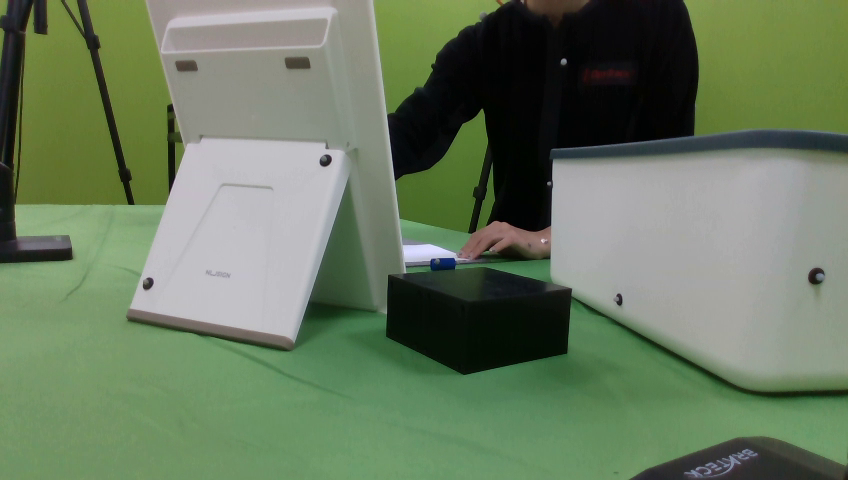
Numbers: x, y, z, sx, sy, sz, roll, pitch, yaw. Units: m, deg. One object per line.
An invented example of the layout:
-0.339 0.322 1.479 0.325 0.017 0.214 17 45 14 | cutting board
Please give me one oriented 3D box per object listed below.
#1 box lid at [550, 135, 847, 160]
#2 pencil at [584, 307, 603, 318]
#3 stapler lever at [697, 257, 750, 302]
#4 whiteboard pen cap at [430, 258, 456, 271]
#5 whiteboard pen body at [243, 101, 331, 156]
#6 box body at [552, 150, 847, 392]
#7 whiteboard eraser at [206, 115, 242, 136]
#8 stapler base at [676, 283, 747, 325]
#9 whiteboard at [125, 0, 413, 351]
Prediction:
0.294 -0.071 0.538 0.264 0.015 0.370 2 6 -10 | box lid
0.250 0.054 0.656 0.195 0.012 0.012 -13 14 -26 | pencil
0.290 0.035 0.580 0.026 0.040 0.119 29 19 34 | stapler lever
0.024 0.031 0.791 0.033 0.018 0.018 1 8 -12 | whiteboard pen cap
-0.136 -0.112 0.607 0.017 0.017 0.141 6 32 25 | whiteboard pen body
0.290 0.002 0.549 0.255 0.160 0.363 2 7 -10 | box body
-0.438 -0.249 1.320 0.056 0.042 0.112 -3 9 -30 | whiteboard eraser
0.283 0.057 0.585 0.041 0.024 0.131 29 18 34 | stapler base
-0.151 -0.050 0.471 0.216 0.305 0.144 6 27 24 | whiteboard
